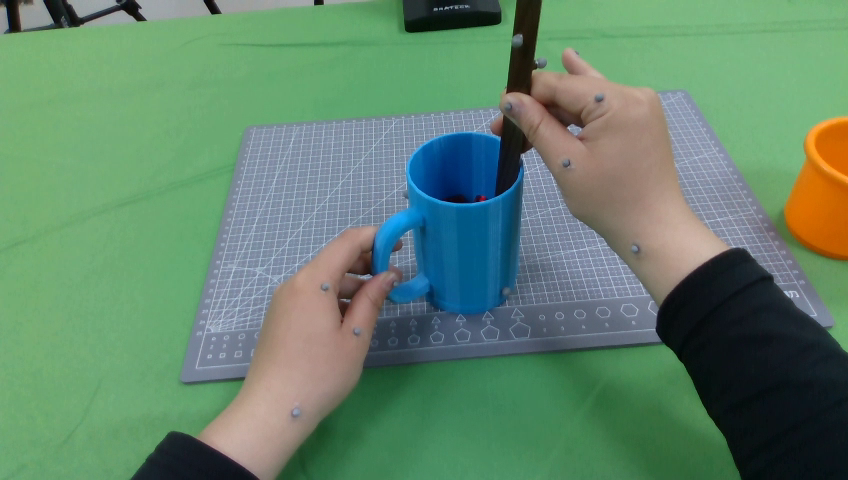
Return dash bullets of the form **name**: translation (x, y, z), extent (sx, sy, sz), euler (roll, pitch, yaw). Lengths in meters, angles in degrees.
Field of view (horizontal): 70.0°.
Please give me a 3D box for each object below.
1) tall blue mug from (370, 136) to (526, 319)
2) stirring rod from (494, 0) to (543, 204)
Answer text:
- **tall blue mug**: translation (0.021, 0.003, 0.415), extent (0.077, 0.109, 0.107), euler (19, 50, 21)
- **stirring rod**: translation (0.054, -0.065, 0.367), extent (0.014, 0.177, 0.006), euler (12, 42, 13)
